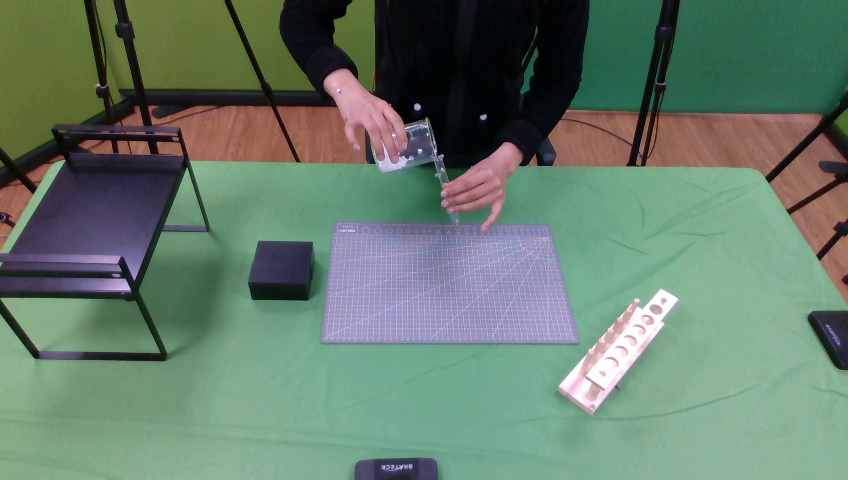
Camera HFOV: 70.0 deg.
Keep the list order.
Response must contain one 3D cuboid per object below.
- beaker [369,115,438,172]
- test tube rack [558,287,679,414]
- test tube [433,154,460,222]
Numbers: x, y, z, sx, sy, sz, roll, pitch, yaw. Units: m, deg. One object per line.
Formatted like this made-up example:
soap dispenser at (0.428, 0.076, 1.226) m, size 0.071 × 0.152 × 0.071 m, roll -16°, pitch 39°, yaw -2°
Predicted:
beaker at (-0.033, -0.154, 0.995) m, size 0.100 × 0.084 × 0.073 m, roll -13°, pitch 49°, yaw 8°
test tube rack at (0.326, 0.170, 1.009) m, size 0.066 × 0.085 × 0.242 m, roll 35°, pitch 54°, yaw 26°
test tube at (0.041, -0.088, 1.069) m, size 0.017 × 0.151 × 0.017 m, roll -10°, pitch 43°, yaw 10°
